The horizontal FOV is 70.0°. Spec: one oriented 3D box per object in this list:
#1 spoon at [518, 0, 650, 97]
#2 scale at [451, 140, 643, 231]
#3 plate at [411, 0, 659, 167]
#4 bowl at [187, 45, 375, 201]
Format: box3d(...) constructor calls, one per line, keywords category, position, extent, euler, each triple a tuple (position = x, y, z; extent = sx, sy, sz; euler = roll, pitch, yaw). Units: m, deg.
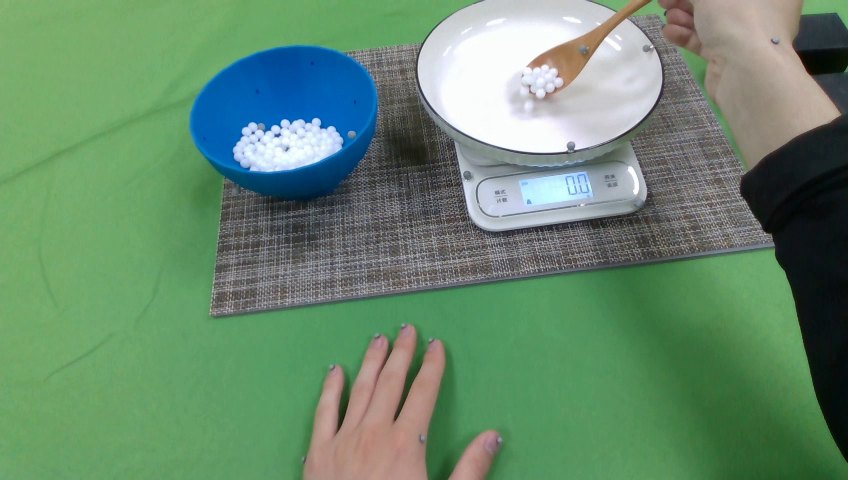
box3d(category="spoon", position=(0.155, -0.175, 0.472), extent=(0.193, 0.022, 0.041), euler=(-33, 63, 33))
box3d(category="scale", position=(0.097, -0.100, 0.539), extent=(0.149, 0.032, 0.199), euler=(-8, 55, -1))
box3d(category="plate", position=(0.093, -0.138, 0.525), extent=(0.209, 0.038, 0.207), euler=(-1, 55, 2))
box3d(category="bowl", position=(-0.111, -0.086, 0.515), extent=(0.151, 0.077, 0.150), euler=(-2, 55, 3))
